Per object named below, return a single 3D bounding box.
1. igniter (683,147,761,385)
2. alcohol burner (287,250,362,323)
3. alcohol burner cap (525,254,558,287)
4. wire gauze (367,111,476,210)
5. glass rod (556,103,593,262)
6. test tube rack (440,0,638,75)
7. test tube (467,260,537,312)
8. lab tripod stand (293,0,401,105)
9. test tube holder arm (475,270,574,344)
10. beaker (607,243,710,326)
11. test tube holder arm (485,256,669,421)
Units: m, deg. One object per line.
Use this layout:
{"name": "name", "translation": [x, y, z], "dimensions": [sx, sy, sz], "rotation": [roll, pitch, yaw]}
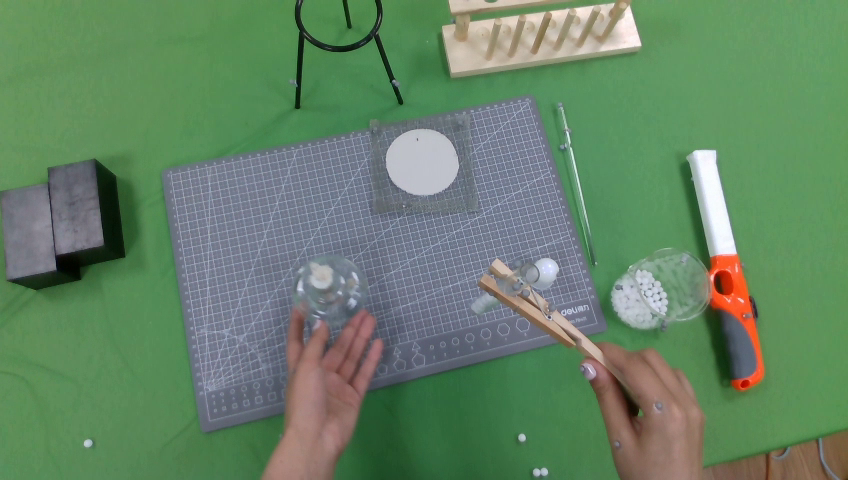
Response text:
{"name": "igniter", "translation": [0.339, 0.024, 0.693], "dimensions": [0.057, 0.025, 0.275], "rotation": [-2, 76, -13]}
{"name": "alcohol burner", "translation": [-0.104, 0.044, 0.620], "dimensions": [0.078, 0.119, 0.077], "rotation": [0, 75, 0]}
{"name": "alcohol burner cap", "translation": [0.132, 0.031, 0.671], "dimensions": [0.034, 0.048, 0.033], "rotation": [1, 75, -2]}
{"name": "wire gauze", "translation": [-0.003, -0.093, 0.714], "dimensions": [0.125, 0.011, 0.121], "rotation": [-2, 77, -4]}
{"name": "glass rod", "translation": [0.178, -0.070, 0.718], "dimensions": [0.008, 0.008, 0.198], "rotation": [-8, 78, -5]}
{"name": "test tube rack", "translation": [0.145, -0.266, 0.727], "dimensions": [0.242, 0.085, 0.066], "rotation": [-9, 76, -5]}
{"name": "test tube", "translation": [0.059, 0.041, 0.489], "dimensions": [0.017, 0.150, 0.017], "rotation": [3, 74, -10]}
{"name": "lab tripod stand", "translation": [-0.093, -0.217, 0.679], "dimensions": [0.148, 0.132, 0.147], "rotation": [1, 77, -2]}
{"name": "test tube holder arm", "translation": [0.078, 0.052, 0.466], "dimensions": [0.088, 0.015, 0.010], "rotation": [34, 73, 1]}
{"name": "beaker", "translation": [0.241, 0.051, 0.645], "dimensions": [0.084, 0.101, 0.073], "rotation": [18, 75, 3]}
{"name": "test tube holder arm", "translation": [0.117, 0.076, 0.466], "dimensions": [0.178, 0.015, 0.013], "rotation": [41, 74, 3]}
